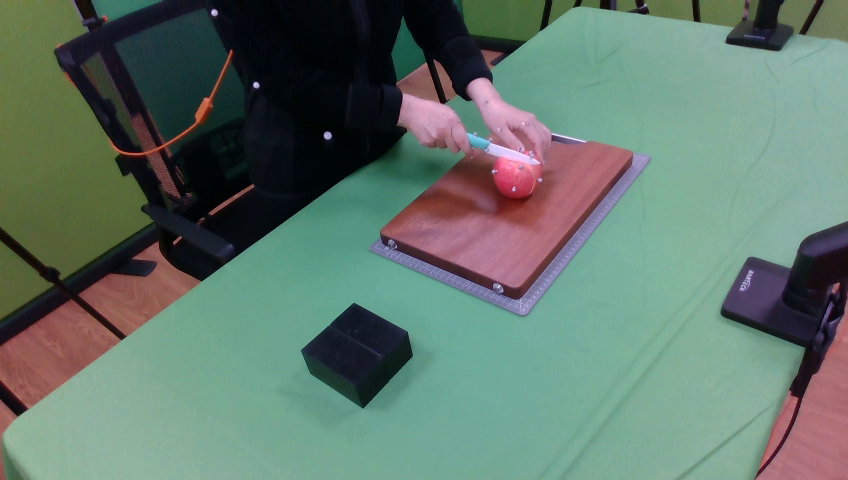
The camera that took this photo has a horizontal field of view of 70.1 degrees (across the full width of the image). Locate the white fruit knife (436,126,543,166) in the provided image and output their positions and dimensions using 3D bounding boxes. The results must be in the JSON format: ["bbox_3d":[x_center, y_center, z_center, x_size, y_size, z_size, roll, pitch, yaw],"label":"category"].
[{"bbox_3d":[0.103,-0.155,0.994,0.206,0.027,0.016,23,55,29],"label":"white fruit knife"}]

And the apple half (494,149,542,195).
[{"bbox_3d":[0.163,-0.116,1.008,0.080,0.075,0.053,16,41,33],"label":"apple half"}]

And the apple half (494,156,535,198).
[{"bbox_3d":[0.141,-0.096,0.986,0.080,0.081,0.033,22,47,32],"label":"apple half"}]
